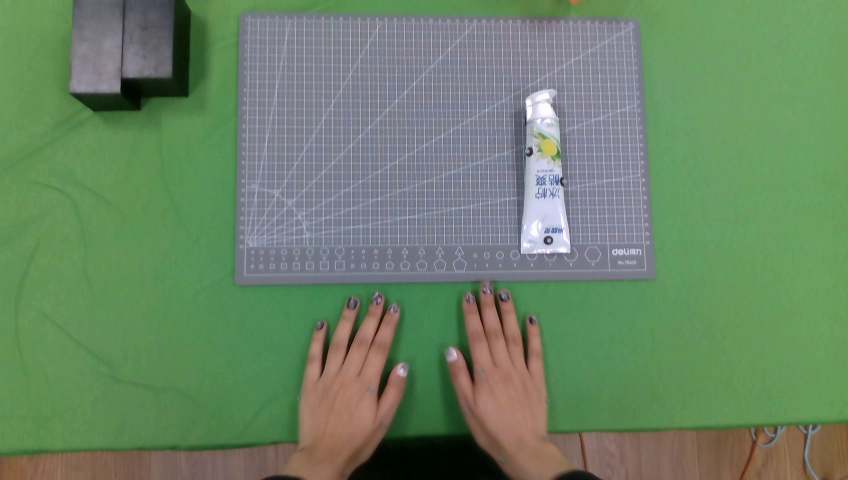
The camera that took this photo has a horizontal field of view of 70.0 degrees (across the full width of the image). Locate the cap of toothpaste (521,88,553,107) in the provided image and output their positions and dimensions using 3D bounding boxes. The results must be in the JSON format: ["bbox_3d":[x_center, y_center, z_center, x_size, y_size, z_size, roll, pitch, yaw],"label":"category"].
[{"bbox_3d":[0.124,-0.154,0.662,0.037,0.037,0.011,-13,80,-6],"label":"cap of toothpaste"}]

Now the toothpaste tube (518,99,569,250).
[{"bbox_3d":[0.126,-0.072,0.657,0.055,0.034,0.165,-3,87,3],"label":"toothpaste tube"}]

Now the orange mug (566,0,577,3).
[{"bbox_3d":[0.149,-0.330,0.659,0.083,0.101,0.125,-22,80,-6],"label":"orange mug"}]
